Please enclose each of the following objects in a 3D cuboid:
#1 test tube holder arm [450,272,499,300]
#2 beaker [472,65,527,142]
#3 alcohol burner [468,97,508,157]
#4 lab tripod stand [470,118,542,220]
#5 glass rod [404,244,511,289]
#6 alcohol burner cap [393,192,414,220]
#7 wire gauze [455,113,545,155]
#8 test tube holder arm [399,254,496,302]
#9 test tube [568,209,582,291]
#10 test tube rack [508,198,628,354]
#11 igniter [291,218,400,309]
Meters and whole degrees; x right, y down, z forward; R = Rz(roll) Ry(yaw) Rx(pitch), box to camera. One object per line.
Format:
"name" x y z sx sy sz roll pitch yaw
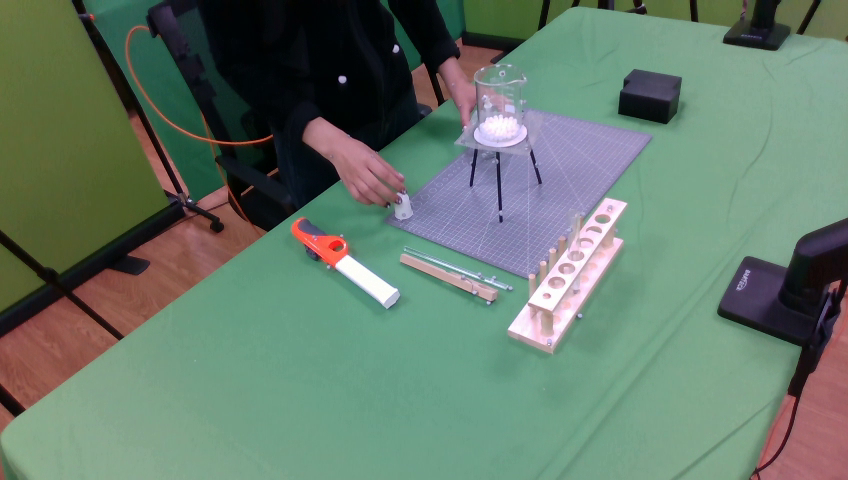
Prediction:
"test tube holder arm" 0.071 0.068 0.895 0.087 0.015 0.010 21 16 33
"beaker" 0.120 -0.211 0.942 0.083 0.101 0.074 10 42 21
"alcohol burner" 0.120 -0.218 1.143 0.078 0.119 0.077 -5 41 4
"lab tripod stand" 0.135 -0.128 1.019 0.148 0.132 0.147 -5 38 5
"glass rod" 0.047 0.039 0.939 0.198 0.008 0.008 21 49 31
"alcohol burner cap" -0.038 -0.061 1.043 0.034 0.048 0.033 -5 41 5
"wire gauze" 0.124 -0.175 0.973 0.124 0.011 0.121 8 39 21
"test tube holder arm" 0.032 0.055 0.914 0.177 0.015 0.013 21 16 32
"test tube" 0.200 0.017 0.799 0.017 0.151 0.017 -8 45 8
"test tube rack" 0.206 0.039 0.850 0.066 0.085 0.243 20 48 31
"igniter" -0.136 0.031 0.970 0.057 0.025 0.274 -41 49 -19
